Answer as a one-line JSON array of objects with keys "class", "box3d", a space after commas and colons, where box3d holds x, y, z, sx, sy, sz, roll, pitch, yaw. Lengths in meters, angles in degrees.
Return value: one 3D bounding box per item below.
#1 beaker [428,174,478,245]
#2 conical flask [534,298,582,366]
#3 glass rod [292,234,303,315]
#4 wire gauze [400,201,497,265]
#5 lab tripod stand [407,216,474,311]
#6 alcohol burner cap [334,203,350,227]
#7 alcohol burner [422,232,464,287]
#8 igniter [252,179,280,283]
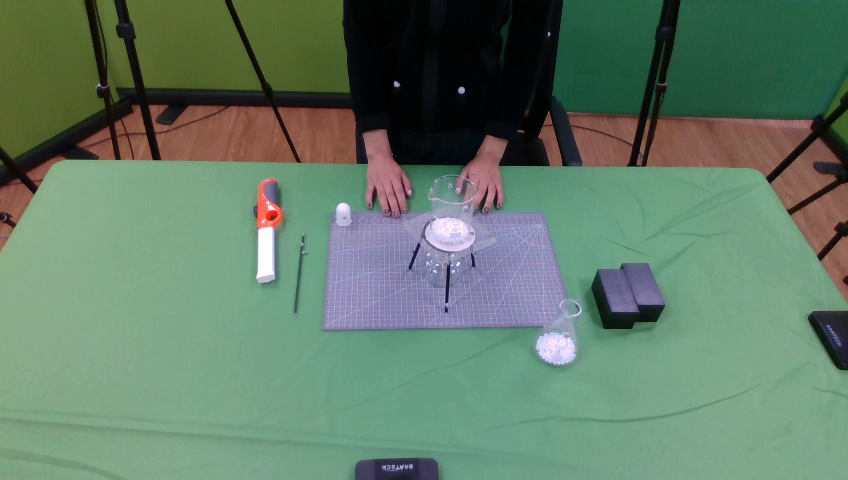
[{"class": "beaker", "box3d": [0.043, -0.047, 1.009, 0.084, 0.101, 0.073, -16, 48, -19]}, {"class": "conical flask", "box3d": [0.229, 0.149, 1.005, 0.075, 0.122, 0.075, 2, 46, -2]}, {"class": "glass rod", "box3d": [-0.236, 0.059, 1.134, 0.008, 0.008, 0.198, -1, 46, -4]}, {"class": "wire gauze", "box3d": [0.042, -0.013, 1.043, 0.125, 0.011, 0.120, -24, 49, -23]}, {"class": "lab tripod stand", "box3d": [0.039, 0.030, 1.093, 0.148, 0.132, 0.147, 2, 44, -2]}, {"class": "alcohol burner cap", "box3d": [-0.166, -0.053, 1.220, 0.034, 0.048, 0.033, 2, 46, -2]}, {"class": "alcohol burner", "box3d": [0.035, 0.030, 1.107, 0.078, 0.120, 0.077, 1, 47, -1]}, {"class": "igniter", "box3d": [-0.313, -0.027, 1.197, 0.057, 0.025, 0.274, -12, 47, -1]}]
